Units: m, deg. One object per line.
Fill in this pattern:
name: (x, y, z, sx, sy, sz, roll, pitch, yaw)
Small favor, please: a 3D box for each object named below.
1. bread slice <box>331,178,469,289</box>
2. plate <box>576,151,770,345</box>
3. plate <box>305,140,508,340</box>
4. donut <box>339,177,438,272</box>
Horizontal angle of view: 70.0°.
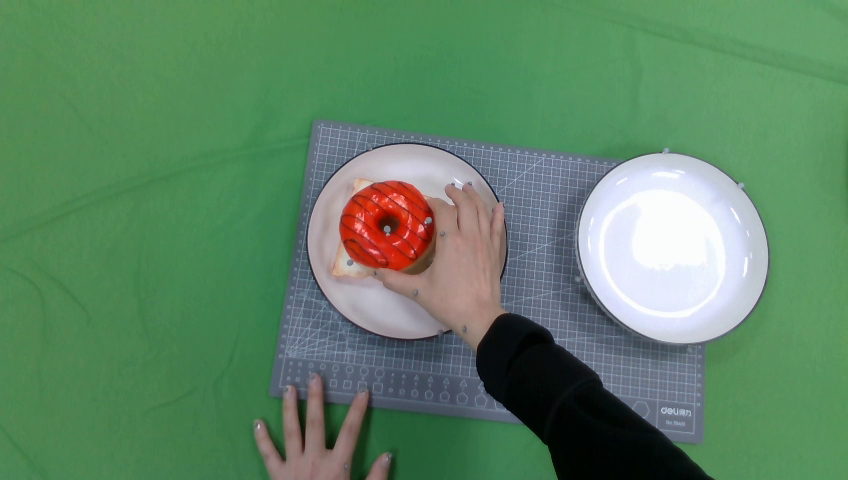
bread slice: (-0.021, -0.004, 0.636, 0.134, 0.018, 0.106, 9, 78, -1)
plate: (0.263, 0.009, 0.652, 0.208, 0.039, 0.206, 1, 79, -4)
plate: (-0.017, 0.000, 0.633, 0.209, 0.038, 0.208, 1, 79, -5)
donut: (-0.035, -0.016, 0.604, 0.099, 0.048, 0.098, -2, 73, 5)
